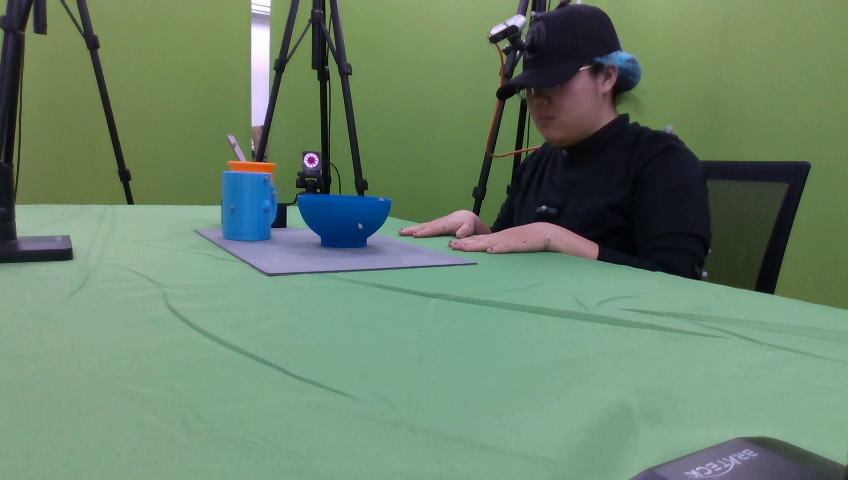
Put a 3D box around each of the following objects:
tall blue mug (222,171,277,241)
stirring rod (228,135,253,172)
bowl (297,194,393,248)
[{"bbox_3d":[-0.290,-0.059,1.003,0.078,0.108,0.107,1,7,-6],"label":"tall blue mug"},{"bbox_3d":[-0.353,-0.148,1.197,0.014,0.006,0.175,-4,52,-45],"label":"stirring rod"},{"bbox_3d":[-0.127,-0.030,0.964,0.151,0.077,0.151,2,7,0],"label":"bowl"}]
